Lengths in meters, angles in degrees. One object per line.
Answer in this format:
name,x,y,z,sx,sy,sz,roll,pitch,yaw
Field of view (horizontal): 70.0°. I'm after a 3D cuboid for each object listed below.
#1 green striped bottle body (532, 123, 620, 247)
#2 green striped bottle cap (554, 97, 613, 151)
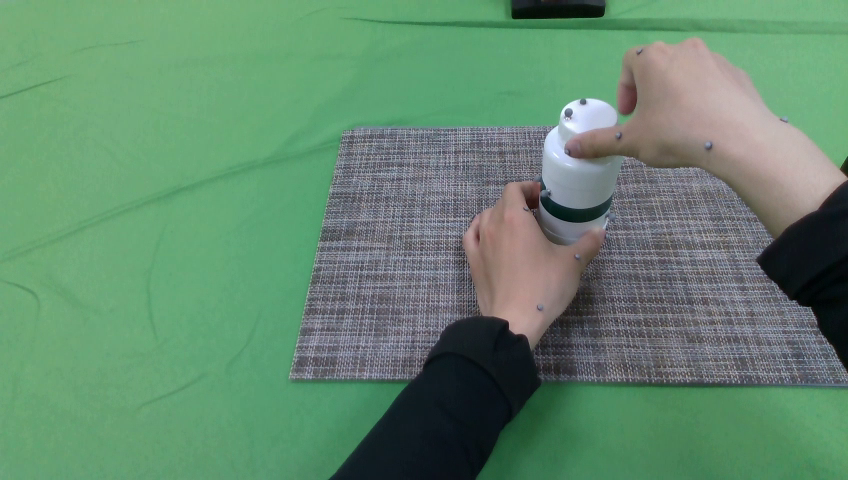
green striped bottle body,0.126,-0.054,0.509,0.063,0.120,0.062,-2,50,3
green striped bottle cap,0.123,-0.090,0.468,0.044,0.020,0.044,-1,55,2
